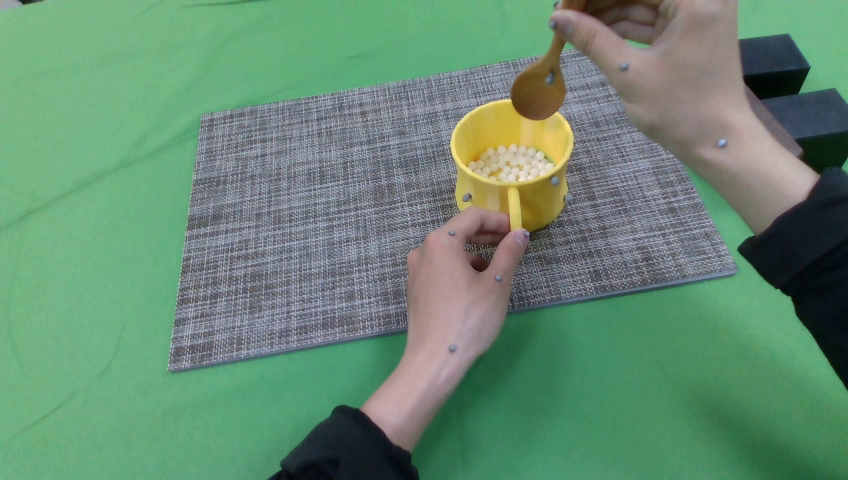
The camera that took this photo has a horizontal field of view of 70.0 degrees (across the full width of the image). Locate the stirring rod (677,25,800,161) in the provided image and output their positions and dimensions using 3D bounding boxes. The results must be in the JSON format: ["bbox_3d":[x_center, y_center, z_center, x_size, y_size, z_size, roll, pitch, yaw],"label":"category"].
[{"bbox_3d":[0.262,-0.131,0.515,0.014,0.006,0.174,-37,50,25],"label":"stirring rod"}]

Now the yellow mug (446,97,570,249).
[{"bbox_3d":[0.071,-0.052,0.506,0.100,0.064,0.129,-4,54,6],"label":"yellow mug"}]

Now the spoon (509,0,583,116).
[{"bbox_3d":[0.086,-0.131,0.387,0.041,0.194,0.021,20,77,4],"label":"spoon"}]
